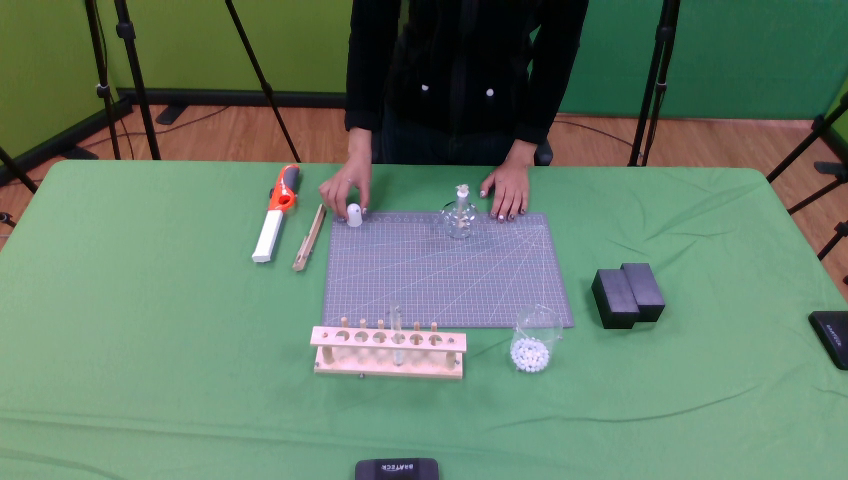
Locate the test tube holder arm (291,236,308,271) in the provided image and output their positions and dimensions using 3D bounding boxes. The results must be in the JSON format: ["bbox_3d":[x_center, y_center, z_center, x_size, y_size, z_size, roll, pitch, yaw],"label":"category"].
[{"bbox_3d":[-0.234,0.024,1.163,0.010,0.015,0.087,-17,38,29],"label":"test tube holder arm"}]

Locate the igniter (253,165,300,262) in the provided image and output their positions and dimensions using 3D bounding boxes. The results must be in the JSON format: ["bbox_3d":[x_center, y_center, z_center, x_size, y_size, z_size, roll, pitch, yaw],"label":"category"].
[{"bbox_3d":[-0.298,-0.063,1.234,0.057,0.025,0.275,-2,46,7],"label":"igniter"}]

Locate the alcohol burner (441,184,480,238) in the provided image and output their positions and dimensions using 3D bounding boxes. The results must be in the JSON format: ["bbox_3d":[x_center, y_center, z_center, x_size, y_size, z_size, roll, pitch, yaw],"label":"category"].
[{"bbox_3d":[0.073,-0.061,1.195,0.078,0.120,0.077,1,47,-1],"label":"alcohol burner"}]

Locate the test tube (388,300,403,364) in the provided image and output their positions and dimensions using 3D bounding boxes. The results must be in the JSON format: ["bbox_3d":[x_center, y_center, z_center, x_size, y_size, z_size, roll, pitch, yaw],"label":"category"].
[{"bbox_3d":[-0.044,0.146,0.942,0.017,0.151,0.017,-1,44,1],"label":"test tube"}]

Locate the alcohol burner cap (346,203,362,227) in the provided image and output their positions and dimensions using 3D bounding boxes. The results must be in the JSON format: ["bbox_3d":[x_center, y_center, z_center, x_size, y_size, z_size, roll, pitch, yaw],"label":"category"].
[{"bbox_3d":[-0.141,-0.053,1.222,0.034,0.048,0.033,2,47,-2],"label":"alcohol burner cap"}]

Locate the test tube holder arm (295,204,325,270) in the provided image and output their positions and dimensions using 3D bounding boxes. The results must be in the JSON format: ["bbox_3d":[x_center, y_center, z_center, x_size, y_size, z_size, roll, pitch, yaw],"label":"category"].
[{"bbox_3d":[-0.222,-0.009,1.192,0.013,0.015,0.177,-19,37,27],"label":"test tube holder arm"}]

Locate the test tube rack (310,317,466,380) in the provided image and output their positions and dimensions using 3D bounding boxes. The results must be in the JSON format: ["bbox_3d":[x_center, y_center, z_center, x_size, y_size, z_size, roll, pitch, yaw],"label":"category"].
[{"bbox_3d":[-0.056,0.171,0.987,0.242,0.085,0.066,3,45,-1],"label":"test tube rack"}]

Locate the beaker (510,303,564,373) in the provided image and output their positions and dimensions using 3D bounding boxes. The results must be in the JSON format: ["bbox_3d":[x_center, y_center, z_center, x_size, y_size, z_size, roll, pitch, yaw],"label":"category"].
[{"bbox_3d":[0.182,0.164,1.000,0.074,0.101,0.083,2,46,-1],"label":"beaker"}]
